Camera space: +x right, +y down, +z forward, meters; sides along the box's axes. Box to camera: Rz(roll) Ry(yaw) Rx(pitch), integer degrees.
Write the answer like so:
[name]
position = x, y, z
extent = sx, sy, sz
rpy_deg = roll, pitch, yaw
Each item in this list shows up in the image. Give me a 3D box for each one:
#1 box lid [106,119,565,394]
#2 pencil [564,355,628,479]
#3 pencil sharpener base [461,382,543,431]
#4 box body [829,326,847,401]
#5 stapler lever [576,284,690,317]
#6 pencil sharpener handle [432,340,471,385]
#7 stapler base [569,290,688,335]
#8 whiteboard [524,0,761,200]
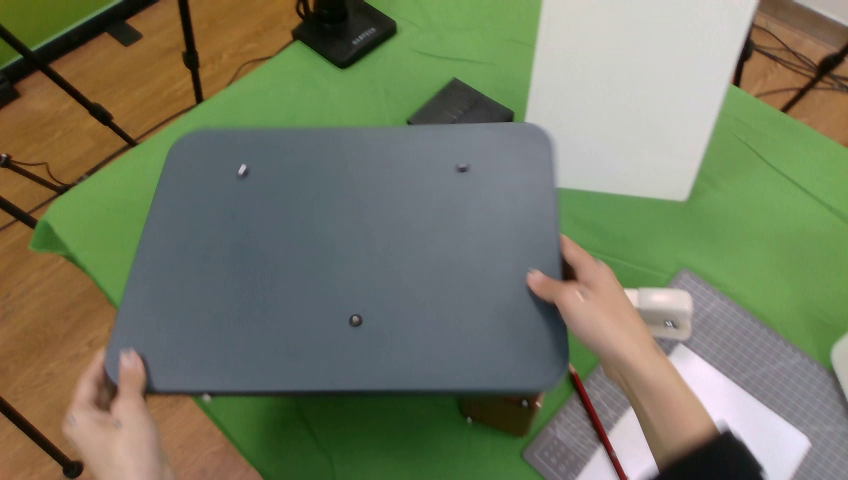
[box lid]
position = -0.074, 0.003, 0.531
extent = 0.371, 0.015, 0.261
rpy_deg = -2, 60, 3
[pencil]
position = 0.182, 0.201, 0.612
extent = 0.012, 0.012, 0.192
rpy_deg = -16, 58, -9
[pencil sharpener base]
position = 0.075, 0.137, 0.597
extent = 0.076, 0.108, 0.061
rpy_deg = 16, 61, 11
[box body]
position = 0.563, 0.208, 0.518
extent = 0.254, 0.162, 0.360
rpy_deg = -4, 59, -3
[stapler lever]
position = 0.227, 0.063, 0.658
extent = 0.118, 0.040, 0.026
rpy_deg = 6, 55, 8
[pencil sharpener handle]
position = 0.025, 0.120, 0.593
extent = 0.030, 0.068, 0.036
rpy_deg = 16, 49, 11
[stapler base]
position = 0.230, 0.077, 0.679
extent = 0.130, 0.024, 0.041
rpy_deg = 6, 55, 8
[whiteboard]
position = 0.242, -0.224, 0.734
extent = 0.217, 0.308, 0.142
rpy_deg = 8, 40, 6
